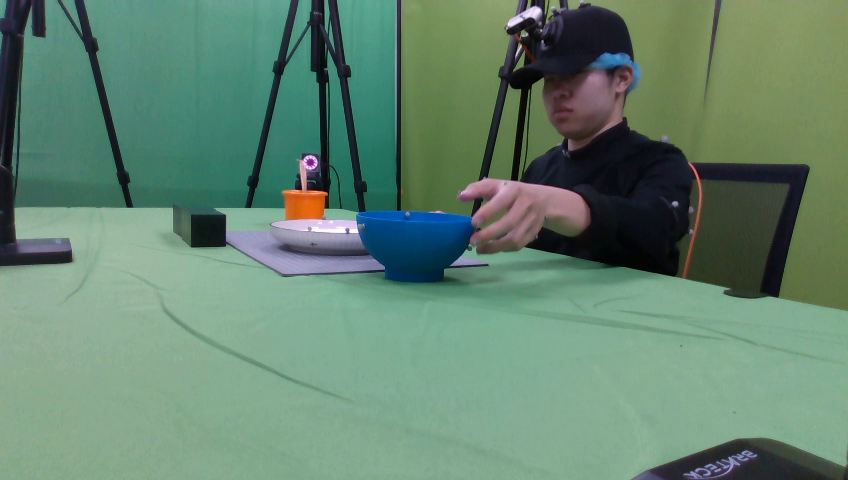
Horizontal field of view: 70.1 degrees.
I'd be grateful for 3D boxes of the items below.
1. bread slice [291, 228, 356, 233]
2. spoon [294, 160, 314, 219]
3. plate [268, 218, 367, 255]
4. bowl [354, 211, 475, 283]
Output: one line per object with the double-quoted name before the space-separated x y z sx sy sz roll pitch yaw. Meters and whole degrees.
"bread slice" -0.143 -0.003 0.953 0.135 0.018 0.106 -1 9 -37
"spoon" -0.253 -0.102 1.270 0.042 0.193 0.021 3 -38 -17
"plate" -0.140 -0.006 0.958 0.209 0.038 0.209 3 7 0
"bowl" -0.013 0.008 0.749 0.151 0.077 0.151 2 7 0
